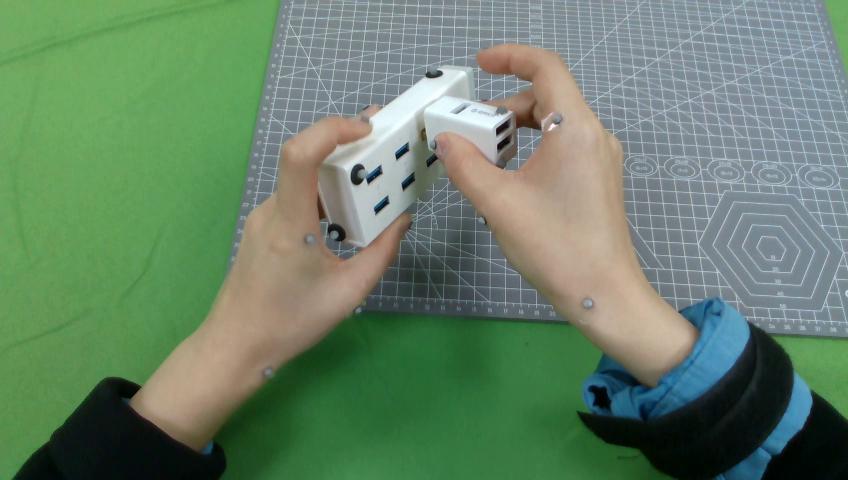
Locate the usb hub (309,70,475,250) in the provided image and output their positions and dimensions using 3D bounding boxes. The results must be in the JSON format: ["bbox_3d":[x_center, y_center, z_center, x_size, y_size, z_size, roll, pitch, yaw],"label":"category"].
[{"bbox_3d":[-0.010,-0.050,0.338,0.025,0.050,0.125,14,42,31],"label":"usb hub"}]

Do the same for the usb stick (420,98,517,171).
[{"bbox_3d":[0.018,-0.056,0.313,0.058,0.027,0.021,20,46,38],"label":"usb stick"}]
